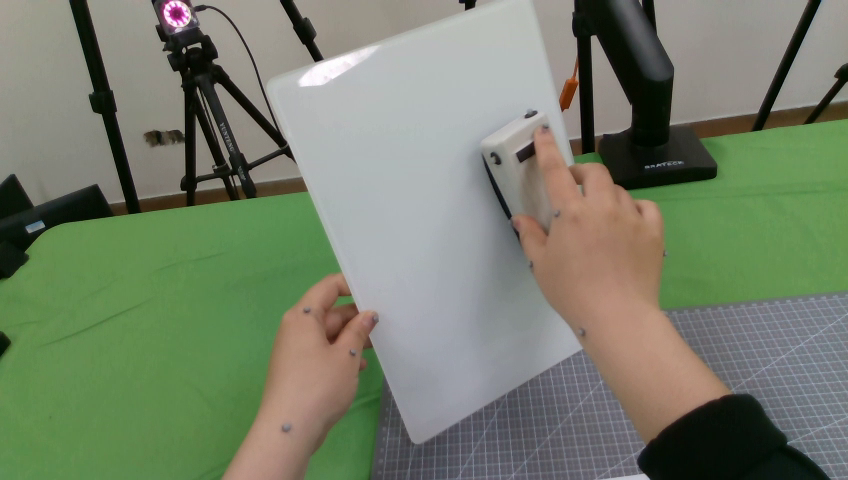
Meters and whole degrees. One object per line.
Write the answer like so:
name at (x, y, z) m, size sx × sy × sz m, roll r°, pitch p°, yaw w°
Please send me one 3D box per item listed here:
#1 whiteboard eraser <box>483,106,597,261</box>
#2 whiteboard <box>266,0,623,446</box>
whiteboard eraser at (0.090, -0.043, 0.474) m, size 0.055 × 0.113 × 0.041 m, roll -33°, pitch 21°, yaw -16°
whiteboard at (0.013, -0.025, 0.536) m, size 0.217 × 0.307 × 0.143 m, roll -25°, pitch 18°, yaw -16°
